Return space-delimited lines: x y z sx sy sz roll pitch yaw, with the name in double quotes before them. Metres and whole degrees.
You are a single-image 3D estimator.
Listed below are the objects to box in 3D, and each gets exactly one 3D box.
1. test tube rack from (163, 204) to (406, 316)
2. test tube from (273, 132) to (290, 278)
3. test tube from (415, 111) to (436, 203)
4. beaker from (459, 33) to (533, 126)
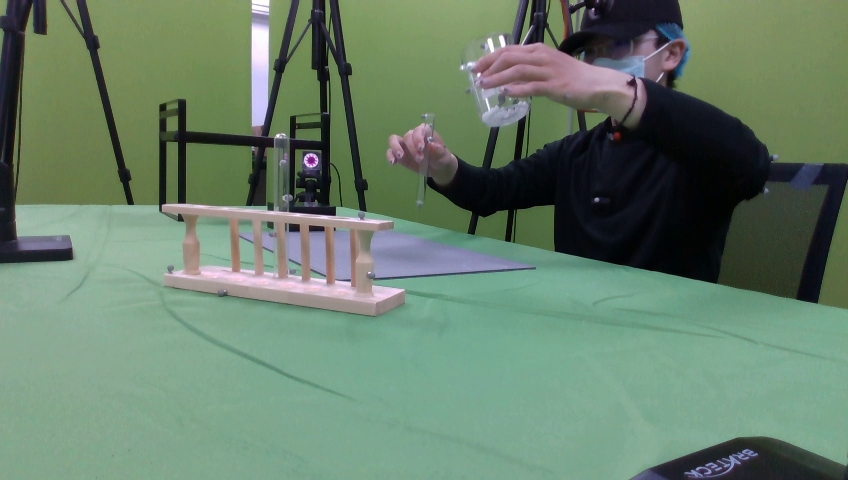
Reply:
"test tube rack" -0.141 0.013 0.601 0.241 0.085 0.067 5 8 21
"test tube" -0.146 -0.034 0.617 0.017 0.150 0.017 2 8 0
"test tube" 0.002 -0.131 0.966 0.017 0.150 0.017 7 23 -3
"beaker" 0.095 -0.208 0.799 0.084 0.100 0.074 -22 -14 23
